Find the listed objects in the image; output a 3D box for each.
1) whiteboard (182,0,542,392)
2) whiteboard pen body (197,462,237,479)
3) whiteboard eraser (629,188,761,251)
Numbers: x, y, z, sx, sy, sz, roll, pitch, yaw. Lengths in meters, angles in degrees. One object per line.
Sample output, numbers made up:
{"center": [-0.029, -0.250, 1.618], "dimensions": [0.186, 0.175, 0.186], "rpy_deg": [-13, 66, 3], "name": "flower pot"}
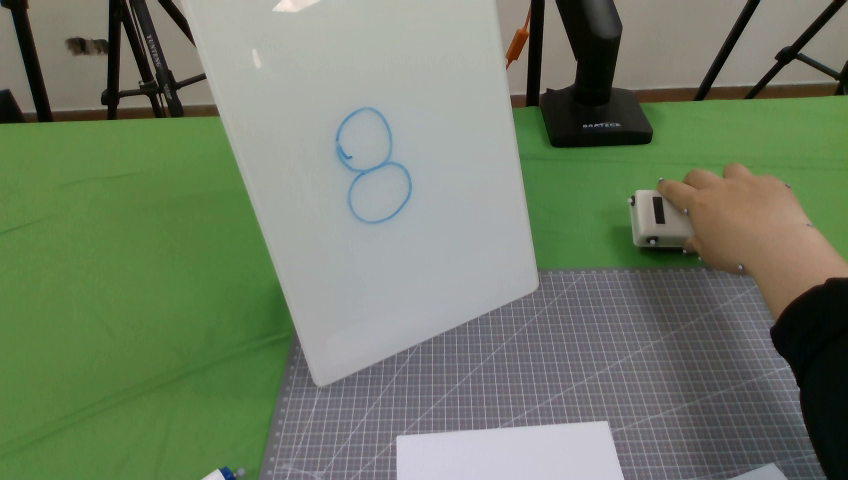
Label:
{"center": [-0.048, -0.073, 0.510], "dimensions": [0.217, 0.307, 0.142], "rpy_deg": [-21, 24, -18], "name": "whiteboard"}
{"center": [-0.187, 0.189, 0.388], "dimensions": [0.141, 0.017, 0.017], "rpy_deg": [-29, 48, -28], "name": "whiteboard pen body"}
{"center": [0.257, -0.019, 0.582], "dimensions": [0.112, 0.042, 0.055], "rpy_deg": [2, 64, 4], "name": "whiteboard eraser"}
